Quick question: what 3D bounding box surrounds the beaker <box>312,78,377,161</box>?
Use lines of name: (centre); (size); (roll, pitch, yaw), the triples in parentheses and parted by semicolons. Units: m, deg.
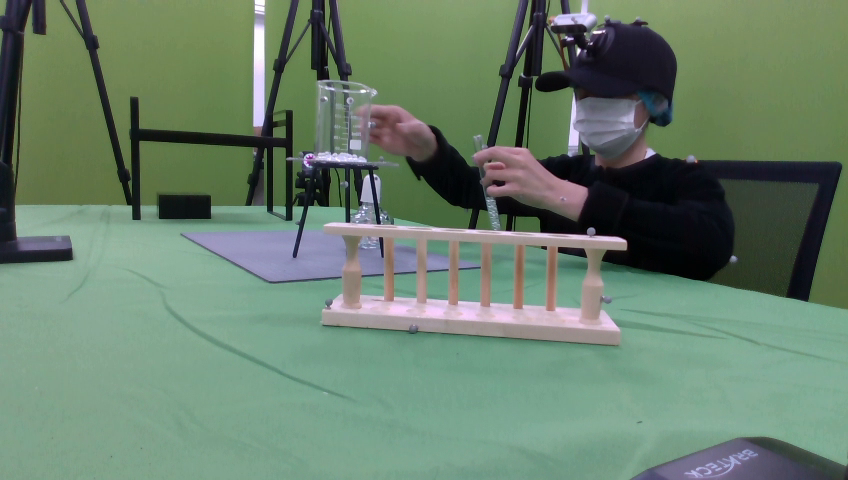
beaker: (-0.103, -0.151, 0.775); (0.084, 0.100, 0.074); (5, 7, 14)

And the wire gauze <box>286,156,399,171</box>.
wire gauze: (-0.101, -0.103, 0.788); (0.121, 0.011, 0.125); (5, 4, 6)

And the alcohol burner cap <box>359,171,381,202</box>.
alcohol burner cap: (-0.082, -0.084, 0.950); (0.034, 0.048, 0.034); (11, 9, -1)

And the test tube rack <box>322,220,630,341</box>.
test tube rack: (0.041, 0.029, 0.512); (0.242, 0.085, 0.067); (3, 7, 5)

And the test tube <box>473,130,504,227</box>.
test tube: (0.097, -0.092, 0.911); (0.017, 0.150, 0.017); (-14, 9, 2)

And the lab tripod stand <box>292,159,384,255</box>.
lab tripod stand: (-0.105, -0.039, 0.797); (0.148, 0.131, 0.148); (2, 5, 0)

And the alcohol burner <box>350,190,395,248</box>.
alcohol burner: (-0.084, -0.048, 0.953); (0.078, 0.119, 0.078); (1, 6, 0)
